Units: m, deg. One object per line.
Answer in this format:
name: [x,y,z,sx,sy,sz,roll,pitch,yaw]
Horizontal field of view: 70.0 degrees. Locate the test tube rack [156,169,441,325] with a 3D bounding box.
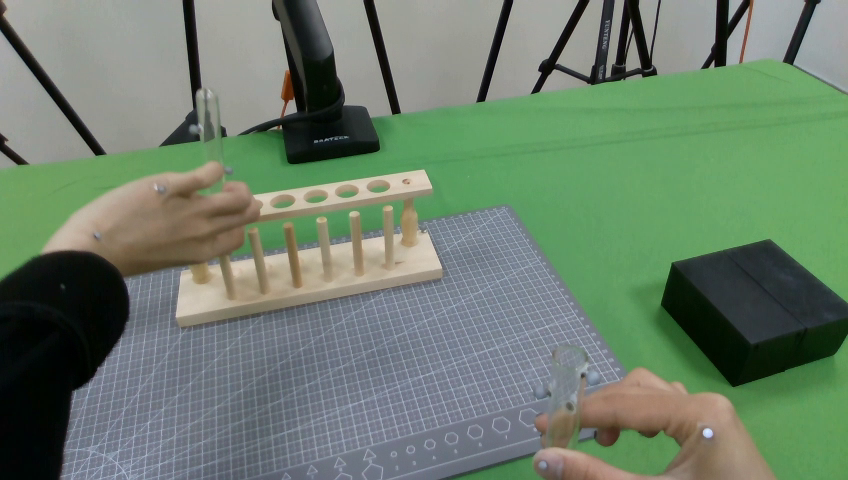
test tube rack: [-0.110,0.004,0.562,0.243,0.086,0.066,-10,39,-10]

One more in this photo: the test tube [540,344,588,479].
test tube: [0.066,0.111,0.302,0.017,0.151,0.017,-2,34,2]

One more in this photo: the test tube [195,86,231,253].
test tube: [-0.165,-0.050,0.477,0.017,0.151,0.017,6,38,-4]
